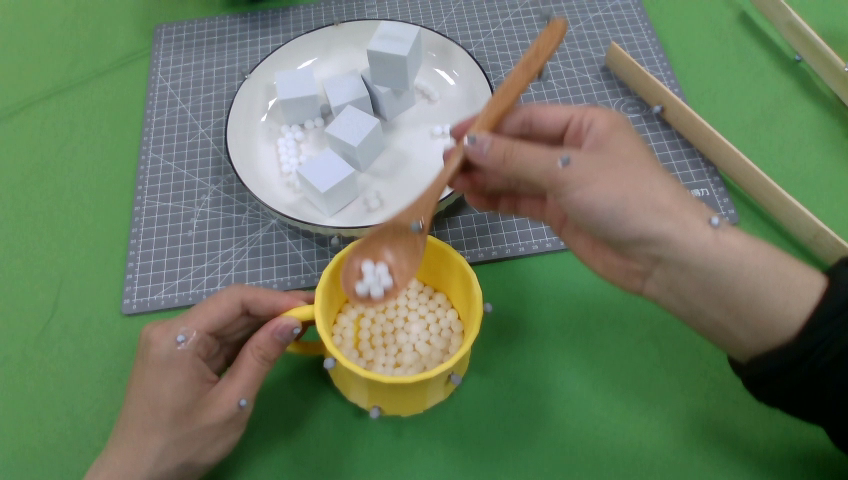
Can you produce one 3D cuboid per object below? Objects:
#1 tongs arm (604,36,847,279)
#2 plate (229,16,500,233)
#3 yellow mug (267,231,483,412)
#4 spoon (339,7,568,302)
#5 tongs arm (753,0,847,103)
[{"bbox_3d":[0.266,-0.026,0.429,0.028,0.028,0.384,-32,65,-17],"label":"tongs arm"},{"bbox_3d":[-0.045,-0.091,0.478,0.207,0.039,0.206,-2,61,3],"label":"plate"},{"bbox_3d":[-0.031,0.052,0.378,0.131,0.064,0.099,-6,59,-7],"label":"yellow mug"},{"bbox_3d":[0.017,-0.045,0.333,0.041,0.022,0.194,40,101,13],"label":"spoon"},{"bbox_3d":[0.338,-0.061,0.442,0.051,0.027,0.381,-21,64,-9],"label":"tongs arm"}]
